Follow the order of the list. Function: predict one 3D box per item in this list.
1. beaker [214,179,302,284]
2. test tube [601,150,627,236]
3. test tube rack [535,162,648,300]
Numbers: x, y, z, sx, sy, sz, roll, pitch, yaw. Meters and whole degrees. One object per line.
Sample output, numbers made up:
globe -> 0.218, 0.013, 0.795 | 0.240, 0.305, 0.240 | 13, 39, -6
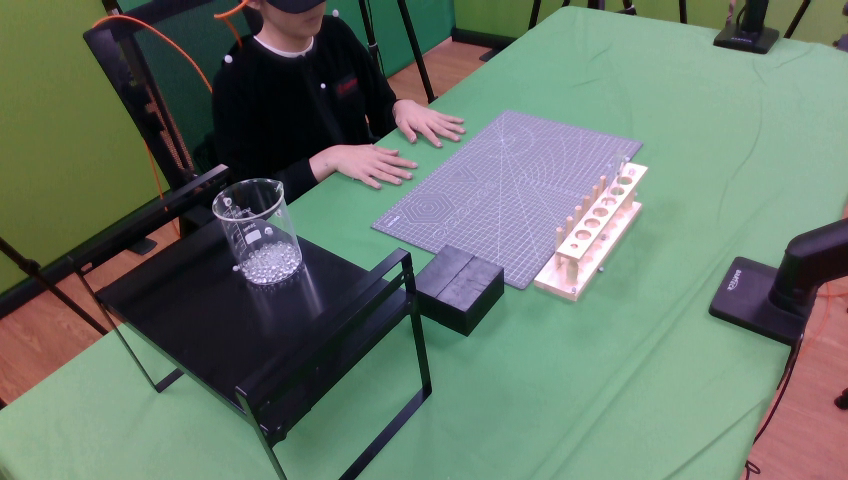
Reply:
beaker -> -0.178, -0.008, 0.675 | 0.073, 0.101, 0.084 | 22, 48, 30
test tube -> 0.276, -0.065, 0.884 | 0.017, 0.151, 0.017 | -2, 41, 2
test tube rack -> 0.257, -0.024, 0.916 | 0.066, 0.085, 0.243 | 22, 49, 30
